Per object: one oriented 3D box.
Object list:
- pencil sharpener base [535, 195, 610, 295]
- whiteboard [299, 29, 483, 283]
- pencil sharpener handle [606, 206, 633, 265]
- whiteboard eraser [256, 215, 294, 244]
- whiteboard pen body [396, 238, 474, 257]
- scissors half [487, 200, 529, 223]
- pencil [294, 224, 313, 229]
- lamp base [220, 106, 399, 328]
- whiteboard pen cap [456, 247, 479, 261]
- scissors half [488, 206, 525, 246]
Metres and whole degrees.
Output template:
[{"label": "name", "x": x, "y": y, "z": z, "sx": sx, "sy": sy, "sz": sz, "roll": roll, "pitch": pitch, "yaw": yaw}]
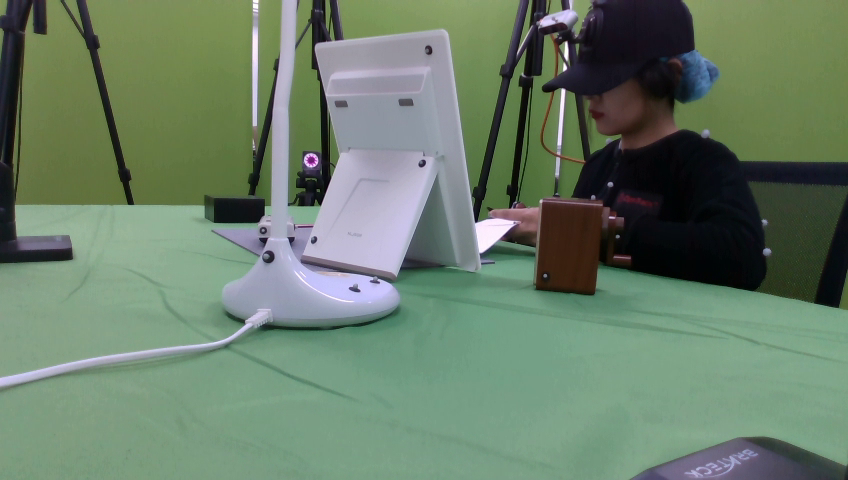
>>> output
[{"label": "pencil sharpener base", "x": 0.172, "y": 0.005, "z": 0.696, "sx": 0.076, "sy": 0.107, "sz": 0.061, "roll": 5, "pitch": 8, "yaw": 16}, {"label": "whiteboard", "x": -0.074, "y": -0.082, "z": 0.742, "sx": 0.216, "sy": 0.305, "sz": 0.144, "roll": 9, "pitch": 30, "yaw": 38}, {"label": "pencil sharpener handle", "x": 0.223, "y": -0.004, "z": 0.683, "sx": 0.030, "sy": 0.068, "sz": 0.036, "roll": 5, "pitch": 20, "yaw": 17}, {"label": "whiteboard eraser", "x": -0.232, "y": -0.016, "z": 0.951, "sx": 0.056, "sy": 0.042, "sz": 0.112, "roll": 2, "pitch": 7, "yaw": -12}, {"label": "whiteboard pen body", "x": 0.014, "y": 0.012, "z": 0.886, "sx": 0.140, "sy": 0.017, "sz": 0.017, "roll": 9, "pitch": 10, "yaw": 38}, {"label": "scissors half", "x": 0.167, "y": -0.053, "z": 1.201, "sx": 0.013, "sy": 0.040, "sz": 0.176, "roll": 4, "pitch": 12, "yaw": 35}, {"label": "pencil", "x": -0.221, "y": -0.028, "z": 1.211, "sx": 0.195, "sy": 0.012, "sz": 0.012, "roll": -5, "pitch": 10, "yaw": -34}, {"label": "lamp base", "x": -0.101, "y": -0.023, "z": 0.531, "sx": 0.160, "sy": 0.180, "sz": 0.179, "roll": 4, "pitch": 10, "yaw": 10}, {"label": "whiteboard pen cap", "x": 0.060, "y": 0.020, "z": 0.851, "sx": 0.033, "sy": 0.018, "sz": 0.018, "roll": 10, "pitch": 10, "yaw": 37}, {"label": "scissors half", "x": 0.163, "y": -0.029, "z": 1.200, "sx": 0.012, "sy": 0.040, "sz": 0.176, "roll": 9, "pitch": -19, "yaw": 35}]
